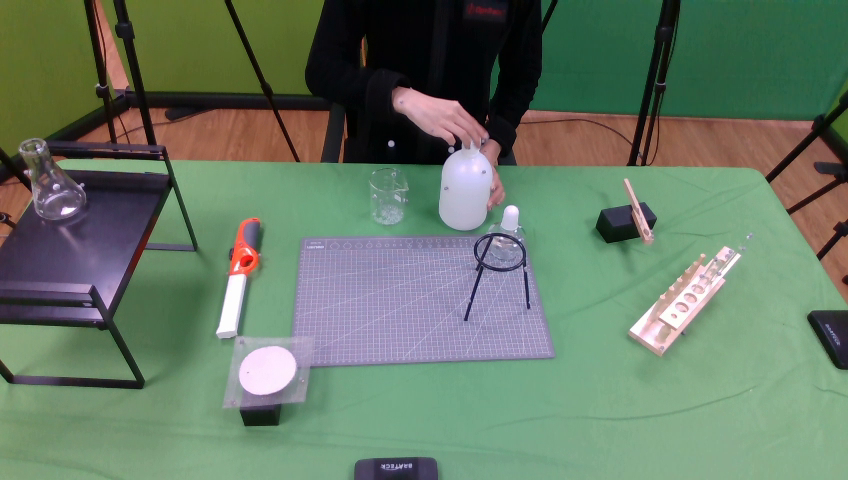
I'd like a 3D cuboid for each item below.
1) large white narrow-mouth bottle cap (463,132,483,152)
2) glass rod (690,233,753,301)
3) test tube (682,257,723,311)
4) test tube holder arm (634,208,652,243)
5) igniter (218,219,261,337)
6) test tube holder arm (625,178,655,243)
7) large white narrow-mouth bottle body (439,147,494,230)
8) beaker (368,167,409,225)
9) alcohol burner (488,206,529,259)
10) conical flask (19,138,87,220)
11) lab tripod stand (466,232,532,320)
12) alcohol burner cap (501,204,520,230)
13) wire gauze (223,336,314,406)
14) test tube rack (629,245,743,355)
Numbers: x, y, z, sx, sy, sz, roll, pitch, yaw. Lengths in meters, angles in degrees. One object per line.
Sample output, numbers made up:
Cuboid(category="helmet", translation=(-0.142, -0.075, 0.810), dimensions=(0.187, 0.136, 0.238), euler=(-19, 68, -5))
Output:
Cuboid(category="large white narrow-mouth bottle cap", translation=(0.091, -0.183, 1.127), dimensions=(0.038, 0.024, 0.037), euler=(2, 46, -2))
Cuboid(category="glass rod", translation=(0.507, 0.053, 1.041), dimensions=(0.008, 0.200, 0.008), euler=(5, 51, -6))
Cuboid(category="test tube", translation=(0.475, 0.080, 1.037), dimensions=(0.017, 0.151, 0.017), euler=(1, 50, -1))
Cuboid(category="test tube holder arm", translation=(0.428, -0.030, 1.189), dimensions=(0.010, 0.015, 0.087), euler=(2, 47, -3))
Cuboid(category="igniter", translation=(-0.336, 0.060, 1.111), dimensions=(0.057, 0.025, 0.274), euler=(-8, 46, 4))
Cuboid(category="test tube holder arm", translation=(0.433, -0.062, 1.220), dimensions=(0.013, 0.015, 0.177), euler=(1, 47, -3))
Cuboid(category="large white narrow-mouth bottle body", translation=(0.085, -0.118, 1.196), dimensions=(0.102, 0.195, 0.101), euler=(2, 46, -2))
Cuboid(category="beaker", translation=(-0.070, -0.085, 1.220), dimensions=(0.084, 0.101, 0.074), euler=(21, 49, 15))
Cuboid(category="alcohol burner", translation=(0.163, -0.020, 1.158), dimensions=(0.078, 0.120, 0.077), euler=(0, 47, 0))
Cuboid(category="conical flask", translation=(-0.576, -0.097, 0.930), dimensions=(0.075, 0.122, 0.075), euler=(2, 46, -2))
Cuboid(category="lab tripod stand", translation=(0.125, 0.059, 1.065), dimensions=(0.148, 0.132, 0.147), euler=(1, 45, 0))
Cuboid(category="alcohol burner cap", translation=(0.164, -0.046, 1.133), dimensions=(0.034, 0.048, 0.033), euler=(2, 40, -2))
Cuboid(category="wire gauze", translation=(-0.237, 0.197, 0.931), dimensions=(0.121, 0.011, 0.124), euler=(1, 45, -4))
Cuboid(category="test tube rack", translation=(0.474, 0.095, 1.091), dimensions=(0.242, 0.085, 0.066), euler=(-34, 56, -31))
